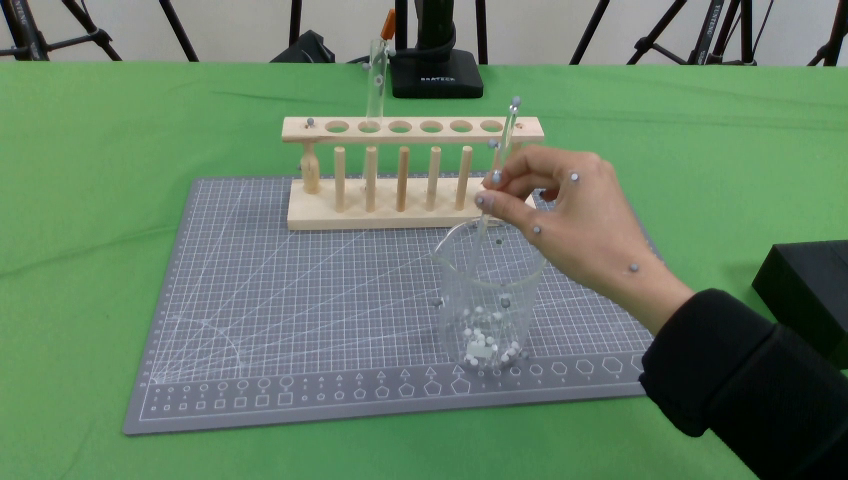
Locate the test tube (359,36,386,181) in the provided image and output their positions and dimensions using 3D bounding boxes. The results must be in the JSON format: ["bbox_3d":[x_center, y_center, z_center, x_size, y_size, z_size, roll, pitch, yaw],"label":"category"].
[{"bbox_3d":[-0.048,-0.114,0.556,0.017,0.151,0.017,6,43,-5],"label":"test tube"}]

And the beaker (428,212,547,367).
[{"bbox_3d":[0.043,0.041,0.456,0.084,0.101,0.073,-1,42,-3],"label":"beaker"}]

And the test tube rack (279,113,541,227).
[{"bbox_3d":[-0.012,-0.068,0.583,0.243,0.086,0.066,-1,42,-6],"label":"test tube rack"}]

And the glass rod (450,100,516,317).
[{"bbox_3d":[0.038,-0.011,0.434,0.008,0.201,0.008,7,42,-6],"label":"glass rod"}]
